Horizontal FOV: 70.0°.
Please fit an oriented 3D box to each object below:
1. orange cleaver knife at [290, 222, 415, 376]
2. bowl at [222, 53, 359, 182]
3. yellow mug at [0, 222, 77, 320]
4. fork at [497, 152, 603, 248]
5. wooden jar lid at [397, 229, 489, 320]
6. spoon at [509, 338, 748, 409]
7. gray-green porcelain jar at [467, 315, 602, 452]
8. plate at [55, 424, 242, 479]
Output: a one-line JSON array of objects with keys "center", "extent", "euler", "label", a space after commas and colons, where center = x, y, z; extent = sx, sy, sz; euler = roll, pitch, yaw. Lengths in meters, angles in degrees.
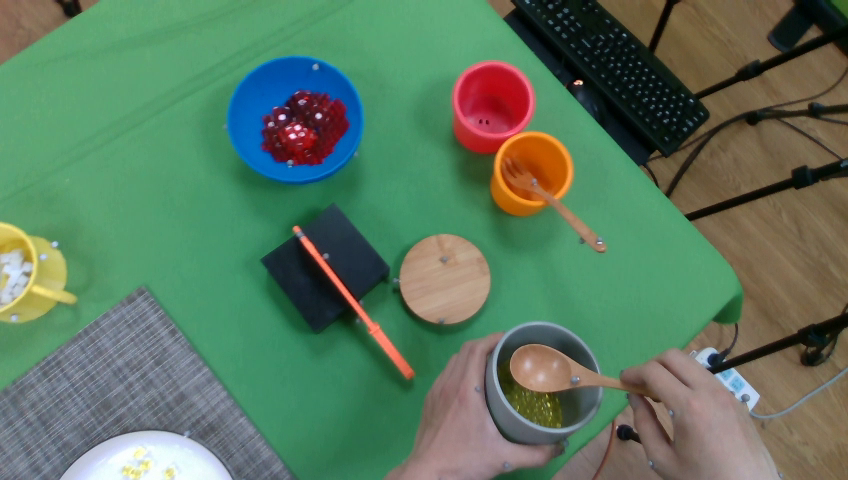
[{"center": [-0.079, 0.066, 0.674], "extent": [0.012, 0.076, 0.212], "euler": [-39, 108, -8], "label": "orange cleaver knife"}, {"center": [-0.150, -0.132, 0.711], "extent": [0.151, 0.077, 0.150], "euler": [1, 79, -4], "label": "bowl"}, {"center": [-0.443, 0.040, 0.658], "extent": [0.131, 0.064, 0.099], "euler": [21, 77, -1], "label": "yellow mug"}, {"center": [0.138, -0.049, 0.680], "extent": [0.028, 0.019, 0.205], "euler": [-23, 37, -10], "label": "fork"}, {"center": [0.022, 0.042, 0.719], "extent": [0.108, 0.021, 0.108], "euler": [1, 79, -3], "label": "wooden jar lid"}, {"center": [0.169, 0.119, 0.513], "extent": [0.193, 0.022, 0.041], "euler": [9, 73, 19], "label": "spoon"}, {"center": [0.102, 0.148, 0.599], "extent": [0.106, 0.127, 0.105], "euler": [5, 58, -7], "label": "gray-green porcelain jar"}, {"center": [-0.286, 0.297, 0.628], "extent": [0.209, 0.038, 0.208], "euler": [1, 79, -5], "label": "plate"}]
